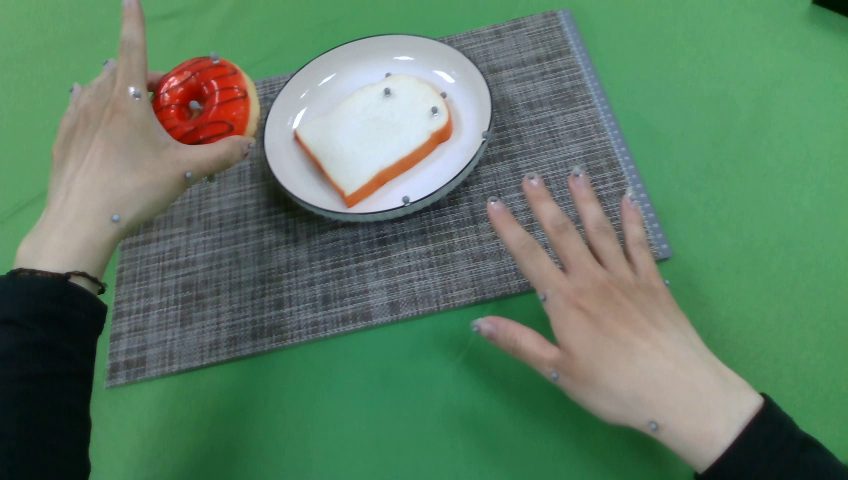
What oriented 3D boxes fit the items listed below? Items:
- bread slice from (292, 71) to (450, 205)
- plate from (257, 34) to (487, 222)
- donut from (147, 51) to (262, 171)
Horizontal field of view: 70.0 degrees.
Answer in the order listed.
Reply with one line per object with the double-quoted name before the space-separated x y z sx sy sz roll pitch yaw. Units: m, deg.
"bread slice" -0.045 -0.103 0.554 0.131 0.019 0.104 -36 62 -10
"plate" -0.046 -0.100 0.550 0.207 0.039 0.206 -4 60 7
"donut" -0.174 -0.101 0.478 0.099 0.048 0.098 -4 76 17
